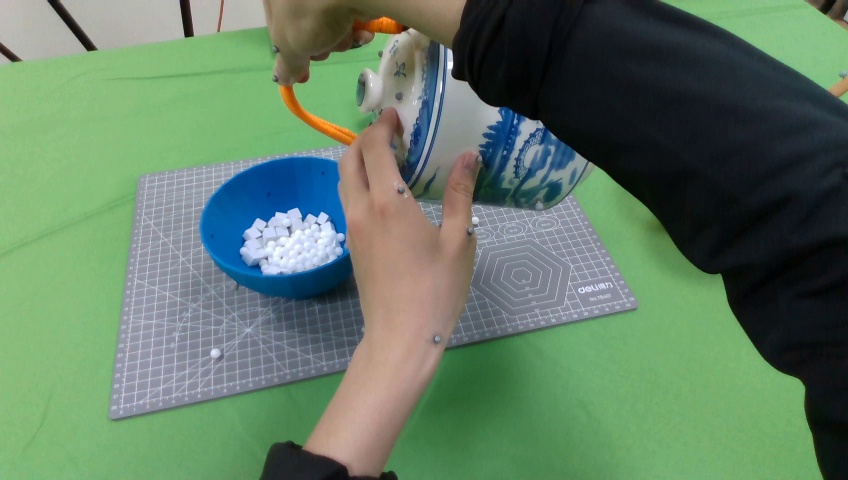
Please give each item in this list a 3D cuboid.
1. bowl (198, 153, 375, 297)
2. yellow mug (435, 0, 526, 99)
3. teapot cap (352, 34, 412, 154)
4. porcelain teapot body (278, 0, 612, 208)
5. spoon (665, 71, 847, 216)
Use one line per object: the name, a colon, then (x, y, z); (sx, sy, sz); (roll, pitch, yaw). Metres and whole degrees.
bowl: (-0.115, -0.001, 0.546); (0.151, 0.077, 0.150); (-1, 47, 1)
yellow mug: (0.057, -0.209, 0.678); (0.099, 0.064, 0.130); (15, 51, 15)
teapot cap: (-0.028, -0.104, 0.429); (0.044, 0.086, 0.084); (-1, 46, -19)
porcelain teapot body: (0.001, -0.085, 0.464); (0.226, 0.206, 0.143); (3, 53, -21)
spoon: (0.314, -0.088, 0.572); (0.022, 0.194, 0.041); (25, 32, -39)
